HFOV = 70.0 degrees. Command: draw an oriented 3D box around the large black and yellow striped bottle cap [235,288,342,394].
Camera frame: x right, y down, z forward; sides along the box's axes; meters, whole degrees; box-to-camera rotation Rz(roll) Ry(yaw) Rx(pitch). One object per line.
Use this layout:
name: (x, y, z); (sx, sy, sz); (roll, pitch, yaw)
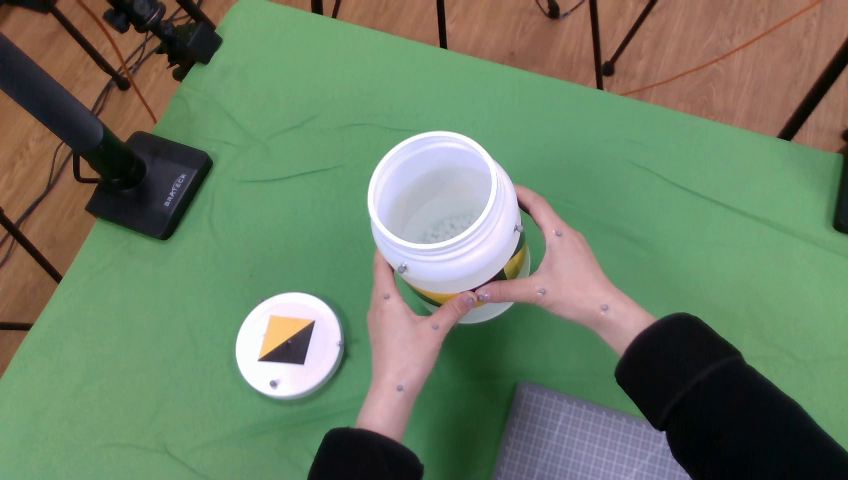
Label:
large black and yellow striped bottle cap: (-0.147, 0.108, 0.656); (0.115, 0.019, 0.114); (-1, 67, 3)

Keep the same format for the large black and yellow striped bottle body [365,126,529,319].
large black and yellow striped bottle body: (0.025, -0.011, 0.565); (0.130, 0.185, 0.130); (-5, 66, 13)
